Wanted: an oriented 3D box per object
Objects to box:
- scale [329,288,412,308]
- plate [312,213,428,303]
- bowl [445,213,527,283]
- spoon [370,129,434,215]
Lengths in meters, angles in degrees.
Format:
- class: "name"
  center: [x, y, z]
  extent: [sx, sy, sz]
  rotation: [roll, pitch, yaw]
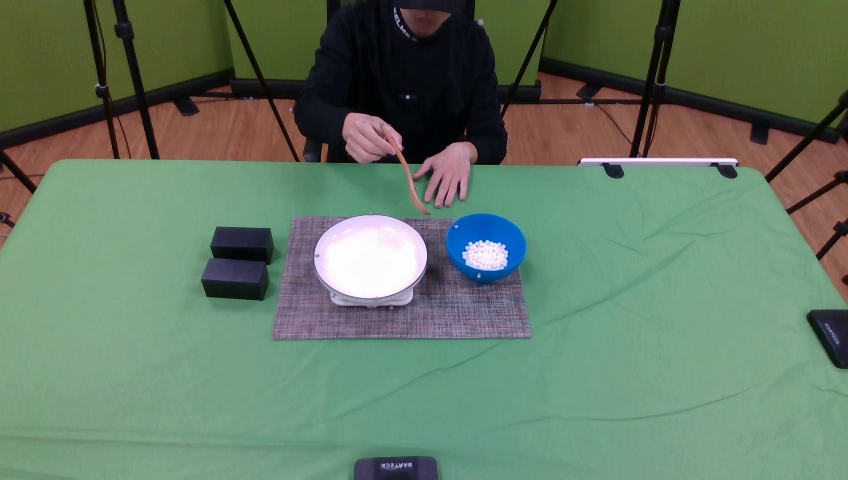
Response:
- class: "scale"
  center: [-0.098, 0.042, 1.139]
  extent: [0.149, 0.032, 0.199]
  rotation: [1, 46, -4]
- class: "plate"
  center: [-0.097, 0.036, 1.100]
  extent: [0.209, 0.038, 0.208]
  rotation: [2, 46, -1]
- class: "bowl"
  center: [0.112, 0.027, 1.136]
  extent: [0.151, 0.077, 0.150]
  rotation: [2, 46, -2]
- class: "spoon"
  center: [-0.040, -0.125, 1.124]
  extent: [0.021, 0.194, 0.041]
  rotation: [-25, 13, 30]
